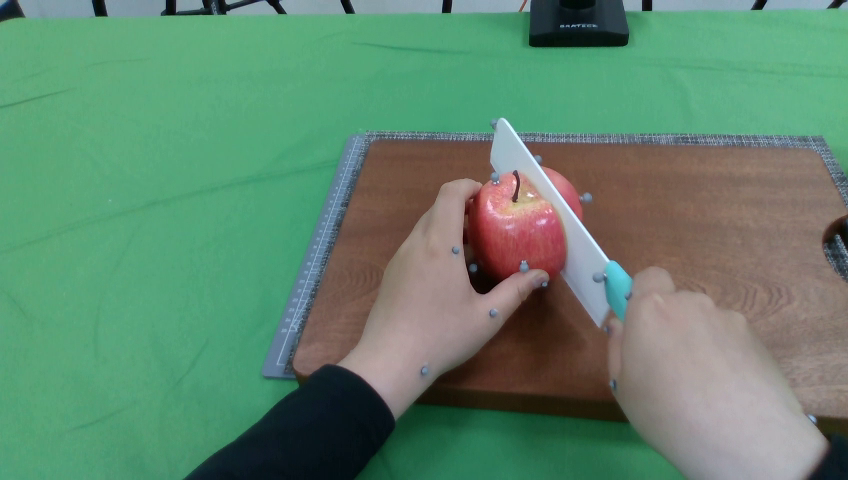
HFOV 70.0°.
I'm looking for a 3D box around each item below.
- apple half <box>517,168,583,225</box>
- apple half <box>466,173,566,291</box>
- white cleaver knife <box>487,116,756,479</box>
[{"bbox_3d":[0.094,-0.017,0.439,0.033,0.082,0.080,-18,46,-15],"label":"apple half"},{"bbox_3d":[0.058,0.000,0.427,0.053,0.075,0.080,-22,50,-10],"label":"apple half"},{"bbox_3d":[0.108,0.023,0.388,0.021,0.066,0.283,-19,54,-10],"label":"white cleaver knife"}]
